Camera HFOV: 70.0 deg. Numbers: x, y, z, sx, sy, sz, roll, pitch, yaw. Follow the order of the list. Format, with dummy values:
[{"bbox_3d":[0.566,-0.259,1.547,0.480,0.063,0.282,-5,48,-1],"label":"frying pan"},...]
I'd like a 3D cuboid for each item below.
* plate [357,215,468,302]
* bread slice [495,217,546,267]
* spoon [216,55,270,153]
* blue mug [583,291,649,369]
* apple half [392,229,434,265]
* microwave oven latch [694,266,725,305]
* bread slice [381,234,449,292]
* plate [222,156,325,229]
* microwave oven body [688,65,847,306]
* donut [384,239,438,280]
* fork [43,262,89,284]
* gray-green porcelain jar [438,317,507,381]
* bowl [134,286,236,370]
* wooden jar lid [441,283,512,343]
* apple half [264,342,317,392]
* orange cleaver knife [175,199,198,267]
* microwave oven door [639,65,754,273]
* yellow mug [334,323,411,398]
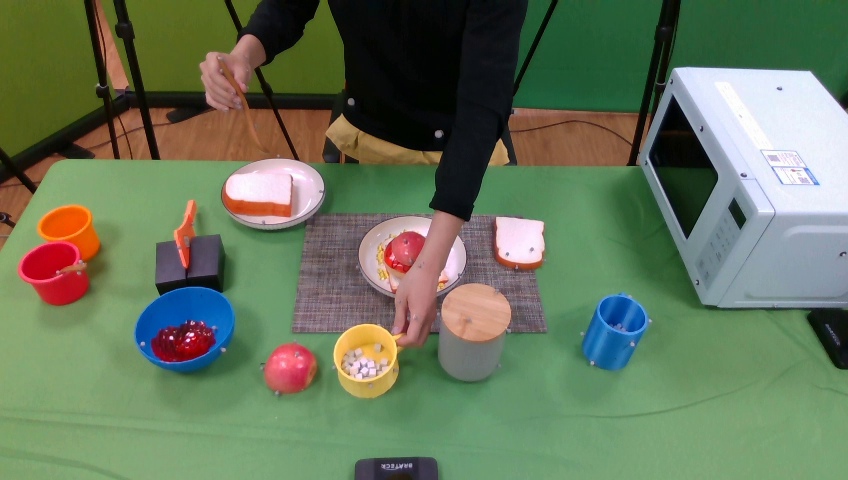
[{"bbox_3d":[-0.022,0.037,1.141,0.208,0.039,0.206,2,46,-2],"label":"plate"},{"bbox_3d":[0.194,0.002,1.205,0.105,0.019,0.131,5,44,3],"label":"bread slice"},{"bbox_3d":[-0.300,-0.223,1.010,0.021,0.195,0.041,-26,45,-14],"label":"spoon"},{"bbox_3d":[0.324,0.142,1.023,0.082,0.106,0.116,15,47,11],"label":"blue mug"},{"bbox_3d":[-0.020,0.004,1.083,0.081,0.033,0.081,6,49,-7],"label":"apple half"},{"bbox_3d":[0.523,0.082,1.115,0.030,0.029,0.078,3,46,0],"label":"microwave oven latch"},{"bbox_3d":[-0.027,0.039,1.141,0.107,0.018,0.133,-12,49,-15],"label":"bread slice"},{"bbox_3d":[-0.308,-0.095,1.251,0.209,0.038,0.208,3,46,-3],"label":"plate"},{"bbox_3d":[0.669,-0.111,1.176,0.326,0.261,0.439,0,46,-3],"label":"microwave oven body"},{"bbox_3d":[-0.025,0.029,1.109,0.099,0.048,0.098,2,46,-2],"label":"donut"},{"bbox_3d":[-0.599,0.053,1.013,0.207,0.019,0.028,-14,31,45],"label":"fork"},{"bbox_3d":[0.076,0.158,0.977,0.106,0.127,0.105,2,47,-2],"label":"gray-green porcelain jar"},{"bbox_3d":[-0.377,0.156,0.981,0.151,0.077,0.150,2,46,-2],"label":"bowl"},{"bbox_3d":[0.080,0.114,0.931,0.108,0.021,0.107,1,49,-1],"label":"wooden jar lid"},{"bbox_3d":[-0.214,0.198,0.970,0.074,0.053,0.080,19,48,10],"label":"apple half"},{"bbox_3d":[-0.438,-0.017,1.138,0.012,0.077,0.210,-14,27,-7],"label":"orange cleaver knife"},{"bbox_3d":[0.522,-0.147,1.193,0.039,0.245,0.353,0,47,-3],"label":"microwave oven door"},{"bbox_3d":[-0.078,0.185,0.972,0.131,0.064,0.099,-27,59,-20],"label":"yellow mug"}]
